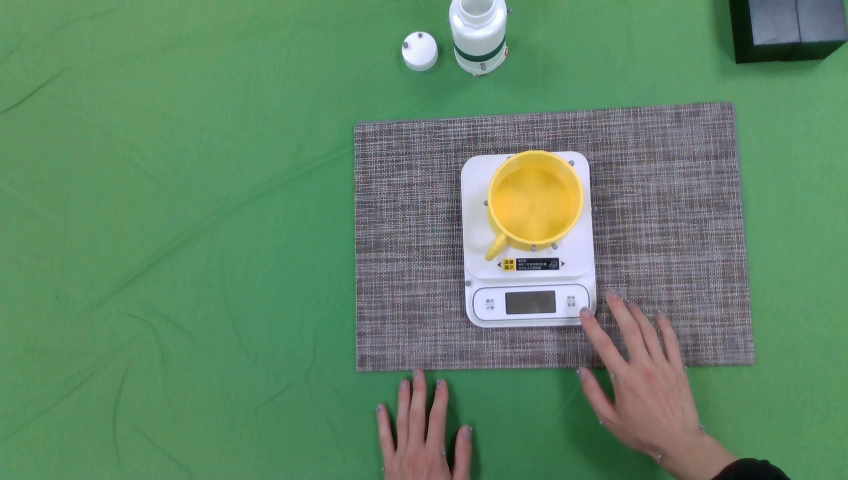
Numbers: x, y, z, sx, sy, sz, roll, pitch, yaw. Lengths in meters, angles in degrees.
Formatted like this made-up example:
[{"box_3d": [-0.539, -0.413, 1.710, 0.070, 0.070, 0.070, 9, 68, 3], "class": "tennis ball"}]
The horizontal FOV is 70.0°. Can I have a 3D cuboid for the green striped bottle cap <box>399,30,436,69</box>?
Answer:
[{"box_3d": [-0.008, -0.236, 0.749, 0.044, 0.020, 0.044, 0, 89, 5], "class": "green striped bottle cap"}]

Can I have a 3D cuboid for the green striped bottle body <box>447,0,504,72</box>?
[{"box_3d": [0.059, -0.244, 0.690, 0.063, 0.119, 0.063, -1, 82, 6], "class": "green striped bottle body"}]

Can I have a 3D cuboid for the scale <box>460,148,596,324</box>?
[{"box_3d": [0.118, -0.005, 0.697, 0.148, 0.031, 0.200, -3, 84, 6], "class": "scale"}]

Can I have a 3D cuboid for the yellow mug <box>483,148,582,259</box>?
[{"box_3d": [0.106, -0.031, 0.654, 0.099, 0.064, 0.131, 38, 89, 8], "class": "yellow mug"}]
